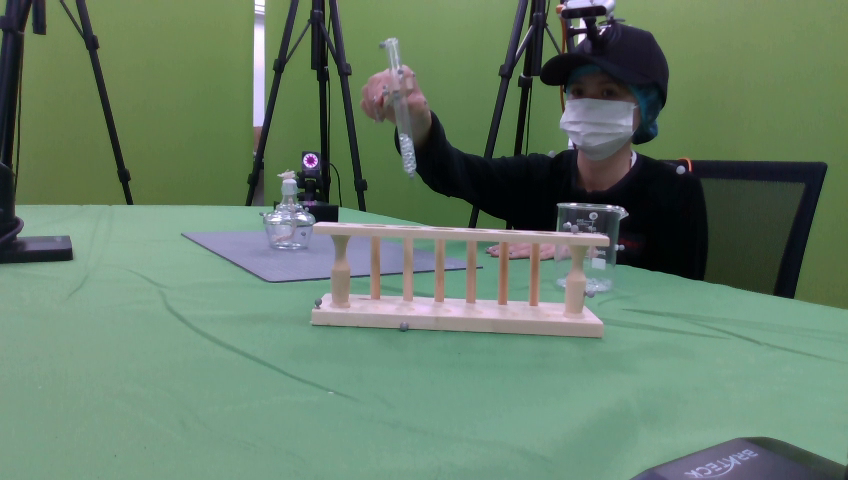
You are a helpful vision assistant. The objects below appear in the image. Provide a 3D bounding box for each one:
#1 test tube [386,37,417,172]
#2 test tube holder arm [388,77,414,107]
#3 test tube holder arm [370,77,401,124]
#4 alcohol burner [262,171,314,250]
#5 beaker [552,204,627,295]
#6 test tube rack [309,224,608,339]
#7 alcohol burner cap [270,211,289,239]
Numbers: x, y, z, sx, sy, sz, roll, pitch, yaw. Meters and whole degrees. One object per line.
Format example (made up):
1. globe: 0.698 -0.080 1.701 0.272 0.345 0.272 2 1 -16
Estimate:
1. test tube: -0.025 -0.150 0.673 0.017 0.150 0.017 -8 2 1
2. test tube holder arm: -0.030 -0.169 0.696 0.010 0.015 0.087 -3 -1 -21
3. test tube holder arm: -0.049 -0.167 0.737 0.013 0.015 0.178 -3 -1 -15
4. alcohol burner: -0.205 -0.045 0.913 0.078 0.119 0.078 1 8 0
5. beaker: 0.191 0.010 0.708 0.083 0.100 0.074 8 9 33
6. test tube rack: 0.028 0.032 0.528 0.242 0.085 0.067 3 7 0
7. alcohol burner cap: -0.246 -0.026 1.035 0.034 0.048 0.034 2 8 0
